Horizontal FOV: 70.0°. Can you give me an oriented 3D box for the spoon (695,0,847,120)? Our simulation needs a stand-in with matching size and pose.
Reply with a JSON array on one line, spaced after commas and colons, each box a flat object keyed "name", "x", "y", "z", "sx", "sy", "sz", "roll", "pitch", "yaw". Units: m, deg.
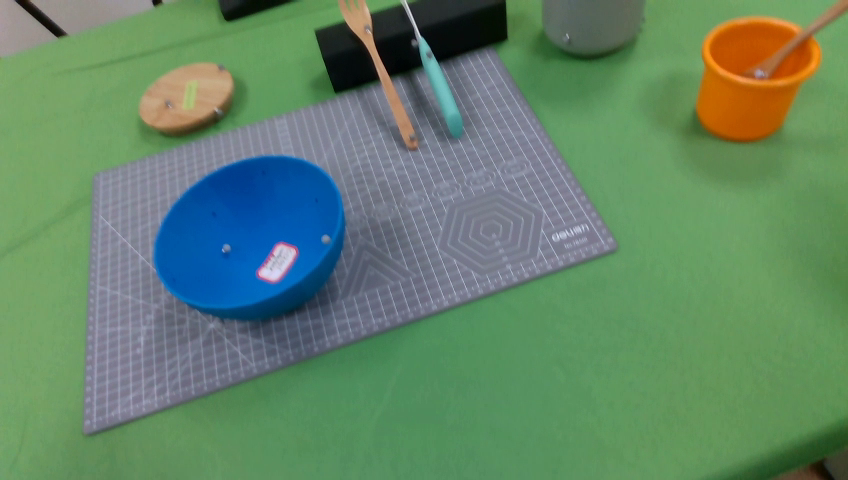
[{"name": "spoon", "x": 0.315, "y": -0.169, "z": 0.506, "sx": 0.022, "sy": 0.194, "sz": 0.041, "roll": 16, "pitch": 46, "yaw": -34}]

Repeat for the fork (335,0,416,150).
[{"name": "fork", "x": -0.050, "y": -0.181, "z": 0.620, "sx": 0.028, "sy": 0.019, "sz": 0.206, "roll": -20, "pitch": 72, "yaw": -10}]

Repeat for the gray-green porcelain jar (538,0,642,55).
[{"name": "gray-green porcelain jar", "x": 0.168, "y": -0.262, "z": 0.612, "sx": 0.106, "sy": 0.128, "sz": 0.105, "roll": -5, "pitch": 54, "yaw": 7}]

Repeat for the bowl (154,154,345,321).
[{"name": "bowl", "x": -0.130, "y": 0.011, "z": 0.499, "sx": 0.151, "sy": 0.077, "sz": 0.150, "roll": -5, "pitch": 54, "yaw": 7}]

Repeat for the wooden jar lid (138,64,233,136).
[{"name": "wooden jar lid", "x": -0.266, "y": -0.157, "z": 0.684, "sx": 0.108, "sy": 0.021, "sz": 0.107, "roll": -4, "pitch": 54, "yaw": 6}]

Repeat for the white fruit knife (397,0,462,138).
[{"name": "white fruit knife", "x": -0.003, "y": -0.195, "z": 0.623, "sx": 0.016, "sy": 0.027, "sz": 0.205, "roll": -19, "pitch": 67, "yaw": -5}]
